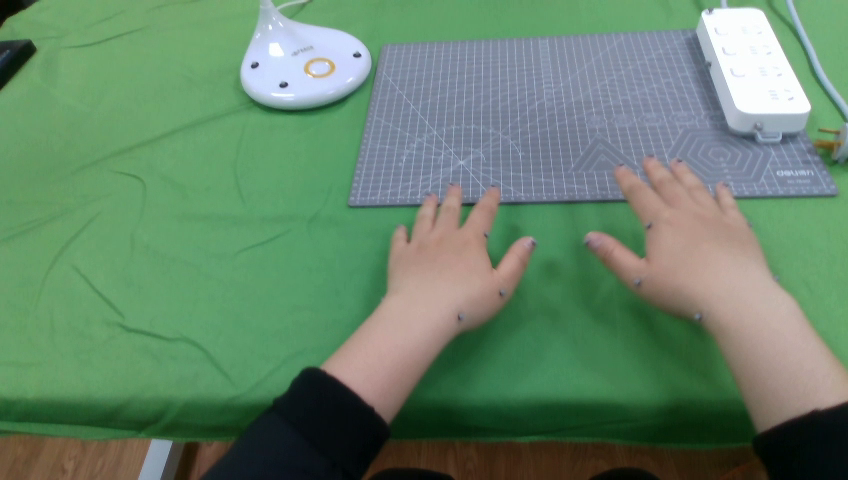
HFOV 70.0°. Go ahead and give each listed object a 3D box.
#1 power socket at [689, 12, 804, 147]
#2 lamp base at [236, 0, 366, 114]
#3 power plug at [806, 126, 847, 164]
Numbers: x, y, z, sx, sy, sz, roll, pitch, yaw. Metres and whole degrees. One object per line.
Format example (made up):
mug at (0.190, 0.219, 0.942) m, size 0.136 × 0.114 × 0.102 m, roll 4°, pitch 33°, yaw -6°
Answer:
power socket at (0.343, -0.184, 0.657) m, size 0.072 × 0.033 × 0.224 m, roll 2°, pitch 48°, yaw 8°
lamp base at (-0.168, -0.263, 0.696) m, size 0.177 × 0.182 × 0.160 m, roll 30°, pitch 57°, yaw 33°
power plug at (0.392, -0.092, 0.583) m, size 0.052 × 0.035 × 0.072 m, roll 12°, pitch 15°, yaw 14°
